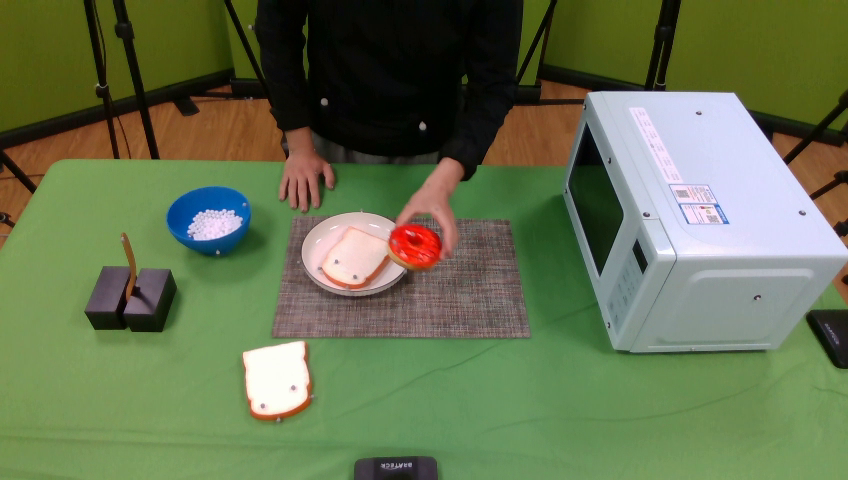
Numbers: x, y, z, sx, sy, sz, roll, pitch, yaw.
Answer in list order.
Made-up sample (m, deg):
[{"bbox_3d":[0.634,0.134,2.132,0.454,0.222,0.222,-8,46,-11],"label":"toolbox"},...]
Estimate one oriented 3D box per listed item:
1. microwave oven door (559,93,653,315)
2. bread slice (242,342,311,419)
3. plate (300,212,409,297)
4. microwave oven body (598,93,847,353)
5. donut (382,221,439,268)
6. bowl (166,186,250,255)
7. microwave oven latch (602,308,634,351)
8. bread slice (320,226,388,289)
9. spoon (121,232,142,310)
[{"bbox_3d":[0.327,-0.074,1.123,0.039,0.245,0.353,-1,46,-5],"label":"microwave oven door"},{"bbox_3d":[-0.233,0.223,0.970,0.105,0.019,0.130,-10,46,-12],"label":"bread slice"},{"bbox_3d":[-0.127,0.031,1.145,0.208,0.039,0.206,2,46,-2],"label":"plate"},{"bbox_3d":[0.475,-0.041,1.109,0.326,0.261,0.438,-1,45,-4],"label":"microwave oven body"},{"bbox_3d":[-0.023,0.008,1.026,0.099,0.048,0.098,9,41,-8],"label":"donut"},{"bbox_3d":[-0.403,-0.024,1.154,0.151,0.077,0.150,2,46,-2],"label":"bowl"},{"bbox_3d":[0.332,0.153,1.044,0.030,0.029,0.078,-1,45,-4],"label":"microwave oven latch"},{"bbox_3d":[-0.129,0.036,1.140,0.107,0.018,0.134,19,48,14],"label":"bread slice"},{"bbox_3d":[-0.479,0.051,0.994,0.022,0.194,0.041,13,46,-11],"label":"spoon"}]
